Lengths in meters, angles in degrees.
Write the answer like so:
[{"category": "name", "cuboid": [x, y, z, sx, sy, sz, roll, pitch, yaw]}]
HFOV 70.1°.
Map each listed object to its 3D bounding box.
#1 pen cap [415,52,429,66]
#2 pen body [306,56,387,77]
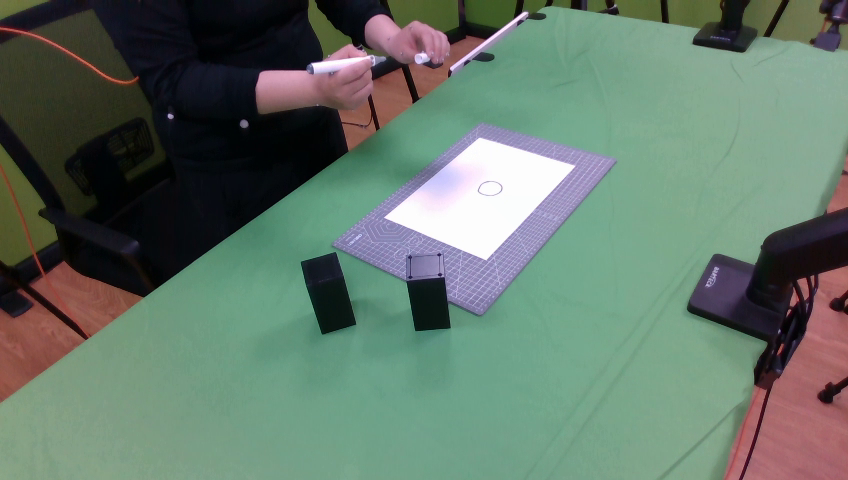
[{"category": "pen cap", "cuboid": [-0.003, -0.311, 1.036, 0.017, 0.017, 0.038, 7, 33, 17]}, {"category": "pen body", "cuboid": [-0.114, -0.267, 0.923, 0.145, 0.017, 0.017, -22, 40, -35]}]
